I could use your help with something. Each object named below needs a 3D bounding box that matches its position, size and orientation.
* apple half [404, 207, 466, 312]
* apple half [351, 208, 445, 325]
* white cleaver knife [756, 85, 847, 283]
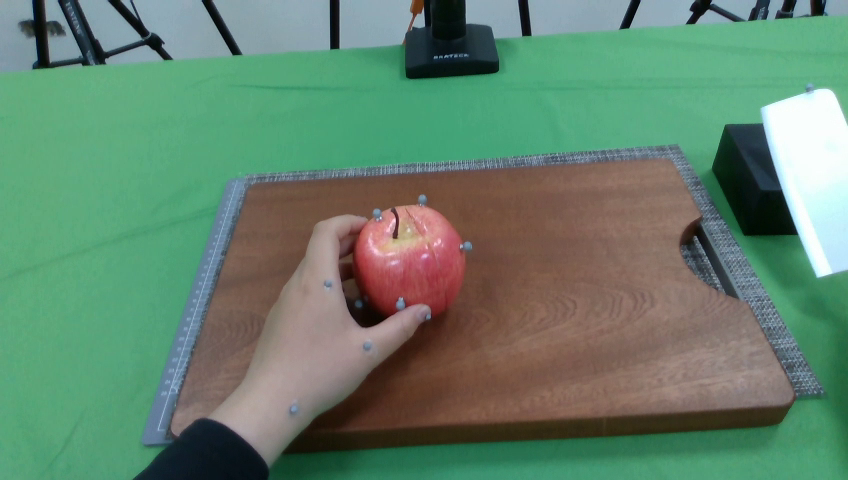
[{"bbox_3d":[0.012,0.011,0.439,0.033,0.082,0.080,-23,45,-11],"label":"apple half"},{"bbox_3d":[-0.023,0.024,0.431,0.053,0.075,0.080,-22,49,-11],"label":"apple half"},{"bbox_3d":[0.321,0.000,0.455,0.066,0.022,0.284,-27,52,35],"label":"white cleaver knife"}]
